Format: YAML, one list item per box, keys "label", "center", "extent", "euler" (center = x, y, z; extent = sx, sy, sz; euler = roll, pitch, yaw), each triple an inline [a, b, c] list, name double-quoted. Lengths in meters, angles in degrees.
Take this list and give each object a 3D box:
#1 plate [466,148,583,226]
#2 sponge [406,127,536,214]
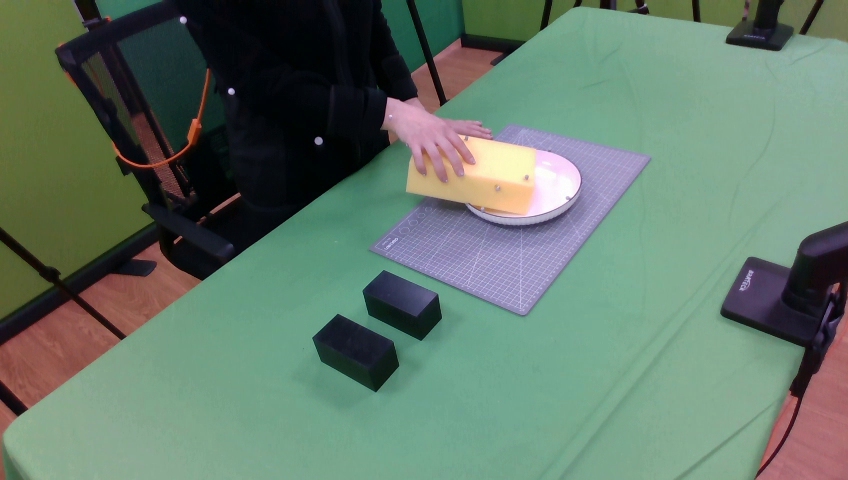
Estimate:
- label: "plate"
  center: [0.167, -0.089, 1.043]
  extent: [0.209, 0.038, 0.208]
  euler: [-5, 40, 5]
- label: "sponge"
  center: [0.083, -0.119, 1.025]
  extent: [0.207, 0.061, 0.118]
  euler: [10, 42, 0]
